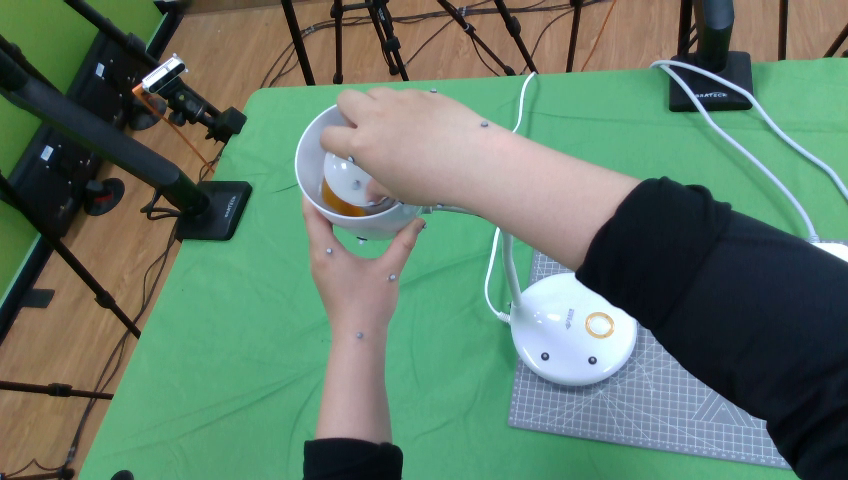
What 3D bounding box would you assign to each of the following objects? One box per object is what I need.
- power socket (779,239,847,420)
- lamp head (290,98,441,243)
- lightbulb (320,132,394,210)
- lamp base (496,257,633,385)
[{"bbox_3d":[0.472,0.096,0.718,0.072,0.033,0.225,2,59,18],"label":"power socket"},{"bbox_3d":[-0.043,-0.047,0.536,0.112,0.124,0.111,-4,68,11],"label":"lamp head"},{"bbox_3d":[-0.053,-0.051,0.512,0.059,0.108,0.059,-1,75,3],"label":"lightbulb"},{"bbox_3d":[0.159,0.075,0.741,0.178,0.182,0.159,-4,58,19],"label":"lamp base"}]
